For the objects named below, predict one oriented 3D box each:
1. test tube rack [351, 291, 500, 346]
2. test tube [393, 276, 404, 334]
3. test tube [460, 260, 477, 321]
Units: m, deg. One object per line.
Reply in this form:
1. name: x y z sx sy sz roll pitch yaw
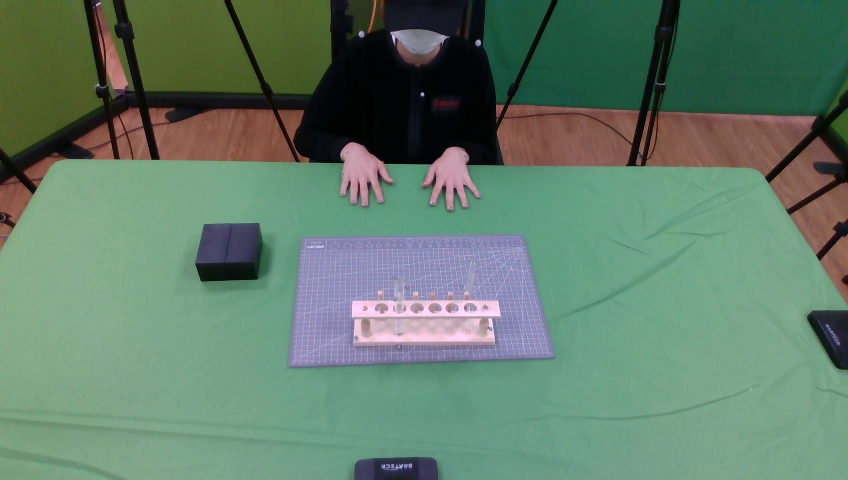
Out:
1. test tube rack: 0.001 0.129 1.026 0.242 0.085 0.066 0 46 -4
2. test tube: -0.041 0.108 0.973 0.017 0.151 0.017 2 50 -2
3. test tube: 0.073 0.086 1.011 0.017 0.151 0.017 2 46 -2
